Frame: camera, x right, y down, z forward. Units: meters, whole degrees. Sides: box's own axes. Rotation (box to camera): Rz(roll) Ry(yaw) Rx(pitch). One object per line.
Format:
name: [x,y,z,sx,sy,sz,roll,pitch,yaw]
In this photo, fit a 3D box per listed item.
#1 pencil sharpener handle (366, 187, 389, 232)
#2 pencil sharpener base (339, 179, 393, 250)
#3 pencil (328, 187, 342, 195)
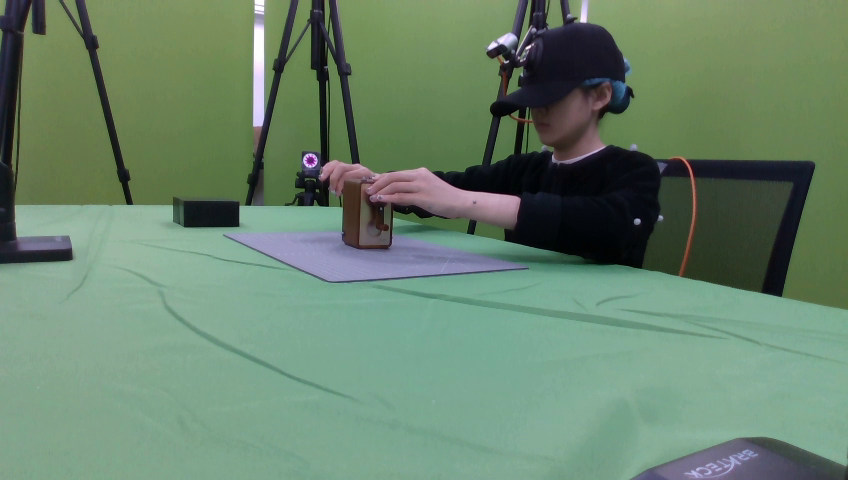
pencil sharpener handle: [-0.065,-0.046,0.916,0.036,0.067,0.030,-6,11,-28]
pencil sharpener base: [-0.091,-0.041,0.960,0.061,0.107,0.076,0,8,-29]
pencil: [-0.128,-0.078,1.027,0.012,0.012,0.193,-1,9,-28]
